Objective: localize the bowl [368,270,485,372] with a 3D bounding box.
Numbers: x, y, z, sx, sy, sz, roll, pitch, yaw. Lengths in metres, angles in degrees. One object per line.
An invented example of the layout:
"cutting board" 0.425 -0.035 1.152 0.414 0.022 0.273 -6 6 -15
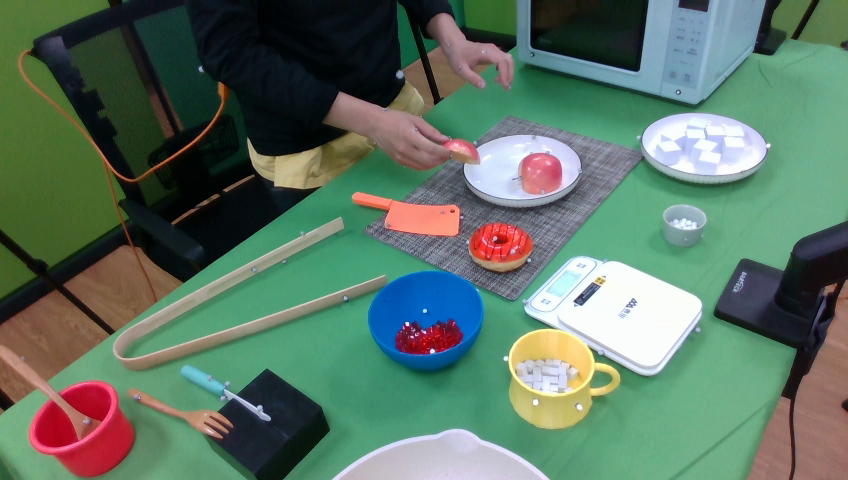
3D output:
"bowl" 0.007 0.118 0.791 0.151 0.077 0.150 -4 40 4

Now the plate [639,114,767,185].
"plate" 0.489 -0.157 1.074 0.207 0.039 0.206 -4 40 4

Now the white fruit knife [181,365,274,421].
"white fruit knife" -0.245 0.187 0.747 0.205 0.027 0.016 9 41 40

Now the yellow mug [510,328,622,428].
"yellow mug" 0.168 0.164 0.722 0.130 0.064 0.099 0 40 8

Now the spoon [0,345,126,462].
"spoon" -0.434 0.191 0.720 0.194 0.021 0.042 47 53 -7

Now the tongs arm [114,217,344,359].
"tongs arm" -0.280 0.068 0.927 0.386 0.026 0.050 -29 48 -23

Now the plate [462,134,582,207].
"plate" 0.173 -0.119 1.070 0.209 0.038 0.208 -4 40 4

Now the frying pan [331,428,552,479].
"frying pan" -0.089 0.306 0.564 0.487 0.103 0.306 10 41 7

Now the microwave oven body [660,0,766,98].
"microwave oven body" 0.472 -0.513 1.317 0.438 0.261 0.327 26 51 34

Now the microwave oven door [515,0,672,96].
"microwave oven door" 0.343 -0.454 1.259 0.353 0.245 0.039 26 51 33

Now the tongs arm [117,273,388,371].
"tongs arm" -0.236 0.115 0.869 0.389 0.028 0.028 -18 48 -12

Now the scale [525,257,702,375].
"scale" 0.254 0.091 0.821 0.199 0.032 0.149 28 51 35

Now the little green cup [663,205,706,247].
"little green cup" 0.396 -0.020 0.926 0.061 0.039 0.061 -4 40 4

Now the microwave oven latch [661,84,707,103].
"microwave oven latch" 0.517 -0.296 1.204 0.078 0.029 0.030 27 52 35

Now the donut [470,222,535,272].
"donut" 0.119 0.009 0.923 0.099 0.048 0.098 -4 38 3

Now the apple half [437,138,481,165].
"apple half" 0.062 -0.151 0.996 0.081 0.082 0.033 16 86 25

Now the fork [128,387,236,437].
"fork" -0.305 0.207 0.744 0.206 0.019 0.028 3 42 36

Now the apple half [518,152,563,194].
"apple half" 0.203 -0.124 1.047 0.074 0.053 0.080 -1 41 3

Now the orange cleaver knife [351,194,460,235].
"orange cleaver knife" -0.036 -0.044 1.029 0.210 0.012 0.077 10 48 18
